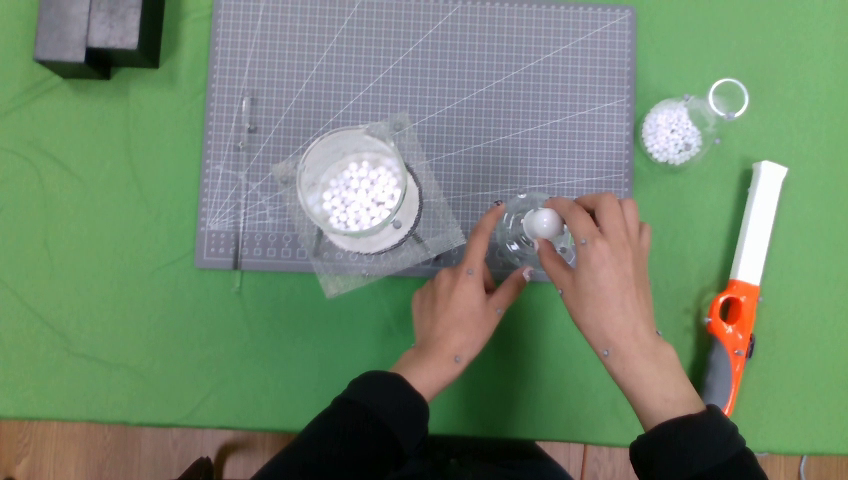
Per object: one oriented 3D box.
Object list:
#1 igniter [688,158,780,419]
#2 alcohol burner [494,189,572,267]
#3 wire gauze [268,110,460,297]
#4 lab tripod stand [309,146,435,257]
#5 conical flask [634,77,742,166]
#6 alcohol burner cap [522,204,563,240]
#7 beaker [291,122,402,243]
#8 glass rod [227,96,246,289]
[{"bbox_3d":[0.321,0.051,0.625,0.057,0.025,0.276,16,85,-10],"label":"igniter"},{"bbox_3d":[0.107,-0.014,0.578,0.078,0.119,0.077,0,84,0],"label":"alcohol burner"},{"bbox_3d":[-0.050,-0.031,0.500,0.125,0.011,0.121,-23,89,-5],"label":"wire gauze"},{"bbox_3d":[-0.052,-0.025,0.565,0.148,0.131,0.148,0,87,-1],"label":"lab tripod stand"},{"bbox_3d":[0.260,-0.120,0.589,0.075,0.122,0.075,0,85,-1],"label":"conical flask"},{"bbox_3d":[0.108,-0.017,0.543,0.034,0.048,0.034,0,90,-5],"label":"alcohol burner cap"},{"bbox_3d":[-0.051,-0.038,0.452,0.074,0.100,0.084,24,85,0],"label":"beaker"},{"bbox_3d":[-0.193,-0.049,0.625,0.008,0.008,0.199,3,88,-1],"label":"glass rod"}]
